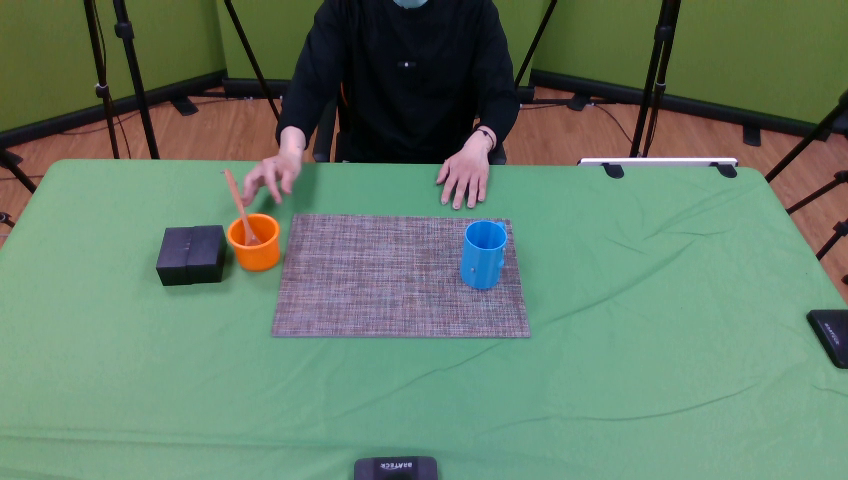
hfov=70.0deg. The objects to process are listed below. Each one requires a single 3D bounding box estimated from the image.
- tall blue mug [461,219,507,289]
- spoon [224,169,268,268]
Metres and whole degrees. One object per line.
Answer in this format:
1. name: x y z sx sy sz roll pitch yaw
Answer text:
1. tall blue mug: 0.111 0.016 1.122 0.078 0.108 0.106 6 46 4
2. spoon: -0.333 -0.040 1.124 0.041 0.194 0.021 -18 6 -18
